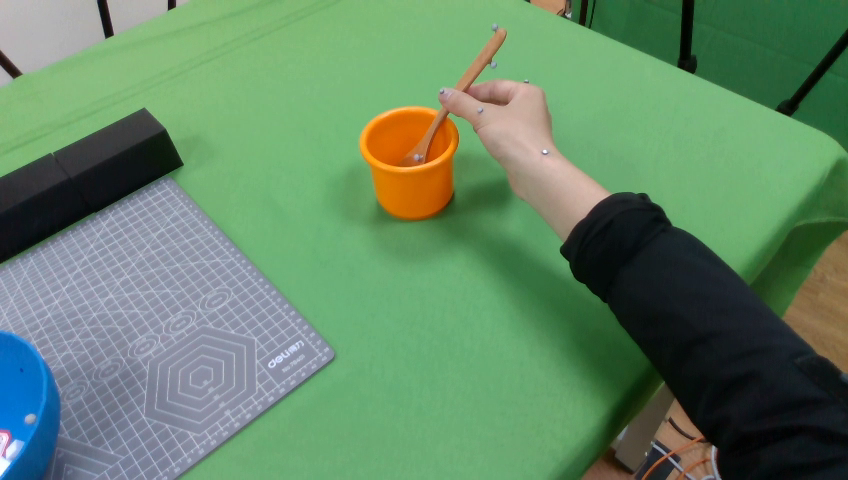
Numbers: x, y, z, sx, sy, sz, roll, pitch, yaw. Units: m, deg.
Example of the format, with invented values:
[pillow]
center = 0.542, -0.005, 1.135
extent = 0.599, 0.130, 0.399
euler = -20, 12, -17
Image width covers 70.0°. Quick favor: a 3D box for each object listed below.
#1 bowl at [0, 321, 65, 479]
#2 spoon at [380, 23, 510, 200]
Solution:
[bowl]
center = -0.315, 0.139, 0.419
extent = 0.151, 0.077, 0.150
euler = -2, 51, 3
[spoon]
center = 0.019, -0.116, 0.563
extent = 0.022, 0.194, 0.041
euler = 8, 34, -52
